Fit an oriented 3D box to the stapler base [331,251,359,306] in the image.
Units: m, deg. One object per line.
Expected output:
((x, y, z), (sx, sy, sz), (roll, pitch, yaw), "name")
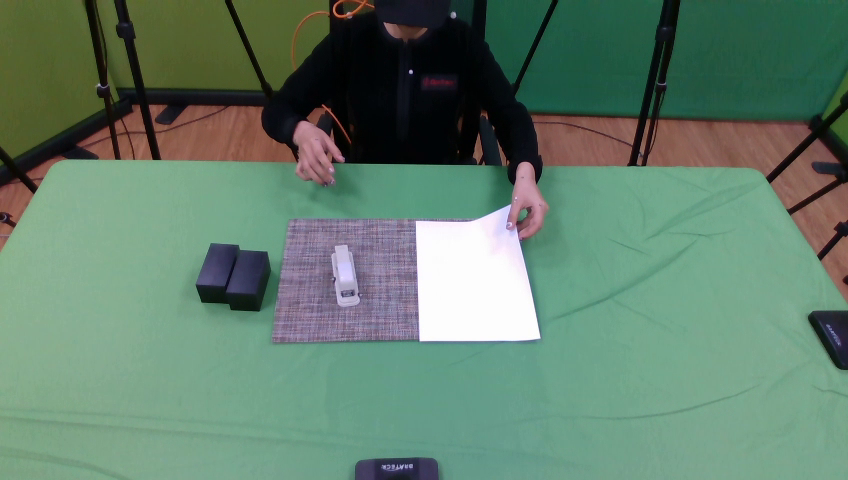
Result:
((-0.147, 0.064, 1.119), (0.041, 0.024, 0.129), (-4, 45, -12), "stapler base")

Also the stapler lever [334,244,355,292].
((-0.146, 0.045, 1.102), (0.027, 0.040, 0.117), (-5, 45, -12), "stapler lever")
